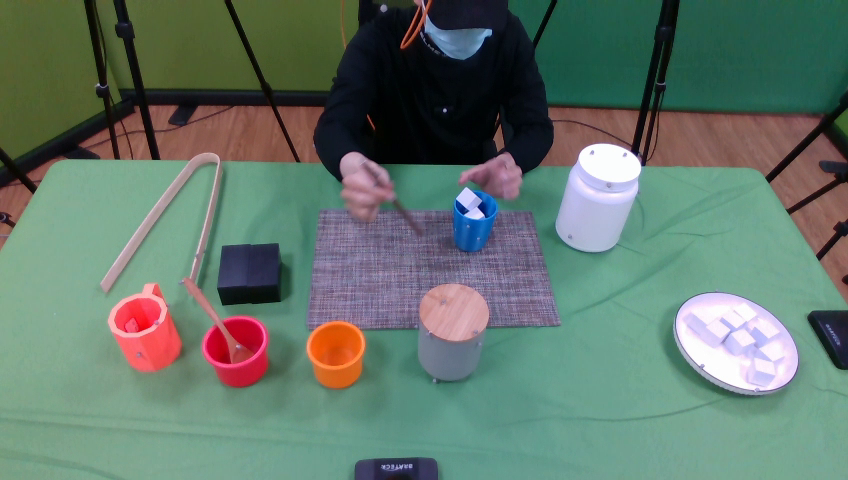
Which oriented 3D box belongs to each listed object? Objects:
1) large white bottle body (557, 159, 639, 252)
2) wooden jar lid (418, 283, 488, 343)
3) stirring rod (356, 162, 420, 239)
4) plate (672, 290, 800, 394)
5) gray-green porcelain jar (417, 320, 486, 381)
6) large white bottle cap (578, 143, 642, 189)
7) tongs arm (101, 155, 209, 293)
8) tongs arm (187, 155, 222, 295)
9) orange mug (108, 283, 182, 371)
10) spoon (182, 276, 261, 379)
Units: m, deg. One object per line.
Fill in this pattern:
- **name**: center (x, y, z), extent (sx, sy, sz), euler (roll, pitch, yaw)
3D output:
- **large white bottle body**: center (0.341, -0.081, 1.185), extent (0.131, 0.185, 0.130), euler (2, 46, -2)
- **wooden jar lid**: center (0.045, 0.114, 0.931), extent (0.108, 0.021, 0.107), euler (2, 49, -2)
- **stirring rod**: center (-0.053, -0.057, 0.930), extent (0.014, 0.177, 0.006), euler (8, 57, 42)
- **plate**: center (0.533, 0.179, 1.050), extent (0.208, 0.039, 0.206), euler (2, 46, -2)
- **gray-green porcelain jar**: center (0.042, 0.158, 0.975), extent (0.106, 0.127, 0.105), euler (2, 46, -2)
- **large white bottle cap**: center (0.344, -0.139, 1.123), extent (0.115, 0.018, 0.114), euler (2, 46, -2)
- **tongs arm**: center (-0.525, -0.046, 1.202), extent (0.028, 0.028, 0.385), euler (4, 45, 12)
- **tongs arm**: center (-0.443, -0.044, 1.200), extent (0.051, 0.027, 0.382), euler (-3, 45, 0)
- **orange mug**: center (-0.445, 0.134, 0.983), extent (0.083, 0.101, 0.125), euler (-1, 50, -5)
- **spoon**: center (-0.321, 0.137, 0.957), extent (0.041, 0.021, 0.194), euler (-36, 102, -32)
